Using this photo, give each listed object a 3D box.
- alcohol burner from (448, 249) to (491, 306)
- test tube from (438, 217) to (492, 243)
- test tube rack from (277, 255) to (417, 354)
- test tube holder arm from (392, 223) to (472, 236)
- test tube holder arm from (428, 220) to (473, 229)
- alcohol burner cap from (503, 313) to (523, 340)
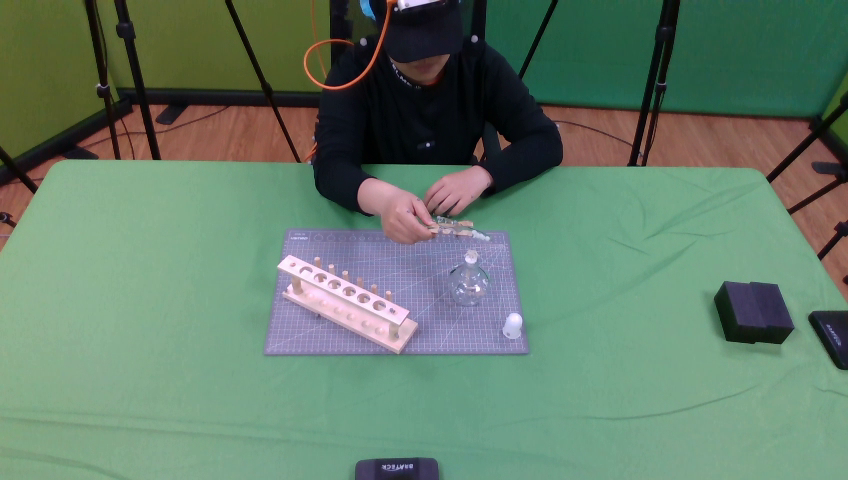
[{"bbox_3d":[0.081,0.062,1.078,0.078,0.120,0.077,1,45,-1],"label":"alcohol burner"},{"bbox_3d":[0.069,-0.015,0.986,0.017,0.017,0.151,47,17,33],"label":"test tube"},{"bbox_3d":[-0.131,0.099,1.045,0.241,0.085,0.066,23,49,17],"label":"test tube rack"},{"bbox_3d":[0.010,-0.018,1.018,0.178,0.015,0.013,5,81,45],"label":"test tube holder arm"},{"bbox_3d":[0.042,-0.023,0.987,0.087,0.015,0.010,-6,75,43],"label":"test tube holder arm"},{"bbox_3d":[0.156,0.148,1.051,0.034,0.048,0.033,1,45,-1],"label":"alcohol burner cap"}]
